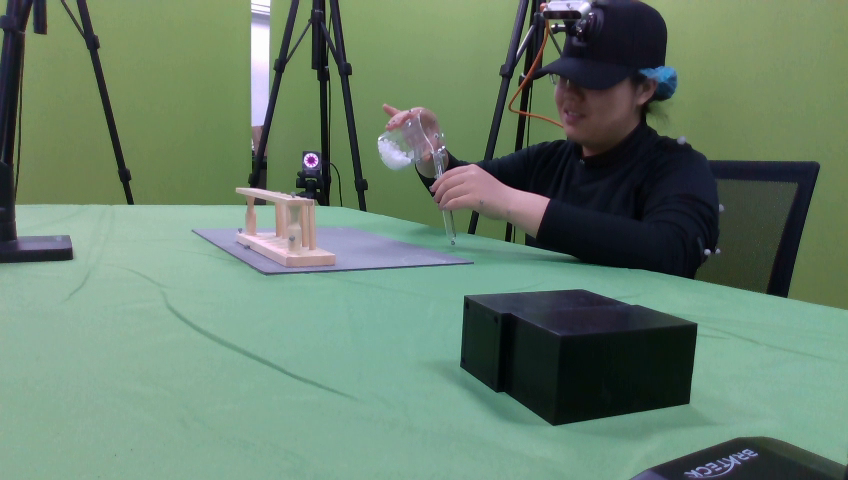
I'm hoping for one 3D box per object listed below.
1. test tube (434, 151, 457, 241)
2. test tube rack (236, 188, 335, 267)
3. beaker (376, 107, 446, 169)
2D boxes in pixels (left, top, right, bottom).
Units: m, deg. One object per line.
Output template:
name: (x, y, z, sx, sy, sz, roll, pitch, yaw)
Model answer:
test tube: (0.035, -0.073, 0.991, 0.017, 0.150, 0.017, -10, -5, -1)
test tube rack: (-0.202, -0.024, 0.855, 0.067, 0.085, 0.241, -2, 8, -31)
beaker: (-0.023, -0.167, 1.030, 0.100, 0.084, 0.074, -23, -19, 30)
